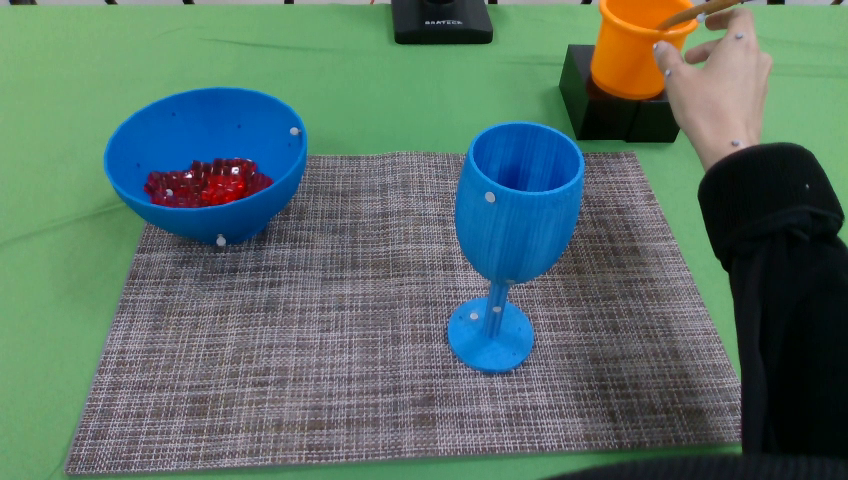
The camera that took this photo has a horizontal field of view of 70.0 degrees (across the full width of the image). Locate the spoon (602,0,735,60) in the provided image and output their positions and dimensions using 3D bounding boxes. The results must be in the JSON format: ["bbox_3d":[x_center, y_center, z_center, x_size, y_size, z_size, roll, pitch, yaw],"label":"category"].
[{"bbox_3d":[0.207,-0.184,0.527,0.042,0.193,0.021,-3,92,-7],"label":"spoon"}]

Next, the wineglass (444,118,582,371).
[{"bbox_3d":[0.050,0.011,0.386,0.074,0.174,0.073,2,48,-1],"label":"wineglass"}]

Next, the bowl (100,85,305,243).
[{"bbox_3d":[-0.169,-0.051,0.493,0.151,0.077,0.150,2,48,-2],"label":"bowl"}]
